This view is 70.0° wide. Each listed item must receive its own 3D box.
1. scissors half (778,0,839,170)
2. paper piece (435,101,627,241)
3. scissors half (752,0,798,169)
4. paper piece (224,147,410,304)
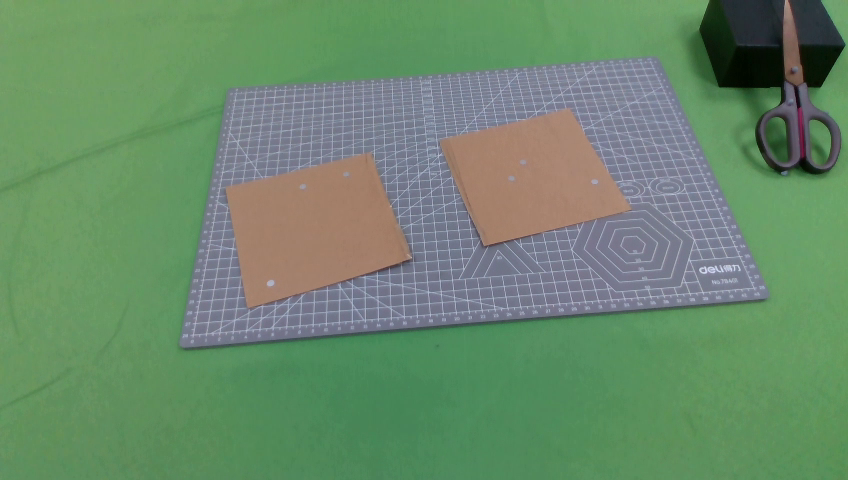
[{"bbox_3d":[0.346,-0.148,0.555,0.040,0.013,0.174,-5,77,0],"label":"scissors half"},{"bbox_3d":[0.092,-0.067,0.544,0.136,0.004,0.134,-14,56,-7],"label":"paper piece"},{"bbox_3d":[0.325,-0.148,0.555,0.040,0.013,0.174,13,76,-1],"label":"scissors half"},{"bbox_3d":[-0.097,-0.020,0.518,0.138,0.009,0.134,-17,50,-7],"label":"paper piece"}]
